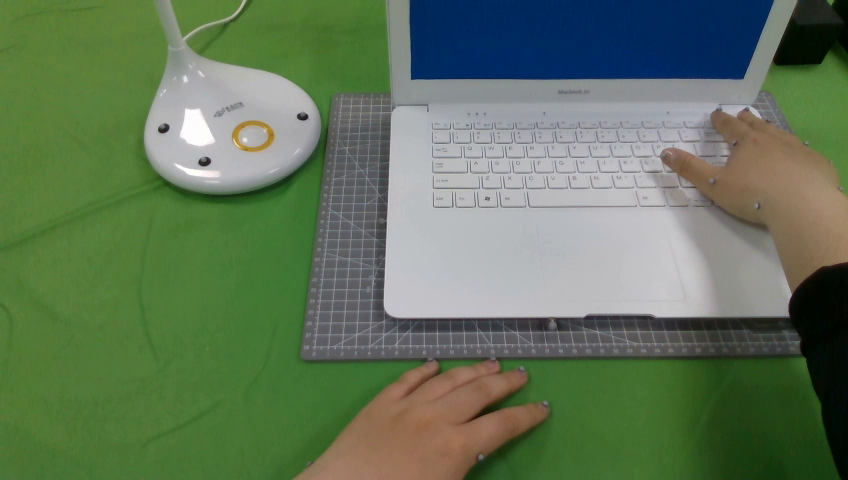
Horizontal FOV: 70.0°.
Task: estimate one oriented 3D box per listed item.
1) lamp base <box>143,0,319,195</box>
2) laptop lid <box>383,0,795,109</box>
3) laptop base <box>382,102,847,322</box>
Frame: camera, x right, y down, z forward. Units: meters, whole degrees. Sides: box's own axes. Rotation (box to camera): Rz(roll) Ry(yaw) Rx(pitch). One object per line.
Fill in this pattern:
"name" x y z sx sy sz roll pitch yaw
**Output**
"lamp base" -0.189 -0.156 0.513 0.178 0.182 0.160 31 58 25
"laptop lid" 0.141 -0.211 0.509 0.357 0.244 0.013 -2 45 0
"laptop base" 0.143 -0.032 0.522 0.354 0.023 0.233 -1 56 -1
